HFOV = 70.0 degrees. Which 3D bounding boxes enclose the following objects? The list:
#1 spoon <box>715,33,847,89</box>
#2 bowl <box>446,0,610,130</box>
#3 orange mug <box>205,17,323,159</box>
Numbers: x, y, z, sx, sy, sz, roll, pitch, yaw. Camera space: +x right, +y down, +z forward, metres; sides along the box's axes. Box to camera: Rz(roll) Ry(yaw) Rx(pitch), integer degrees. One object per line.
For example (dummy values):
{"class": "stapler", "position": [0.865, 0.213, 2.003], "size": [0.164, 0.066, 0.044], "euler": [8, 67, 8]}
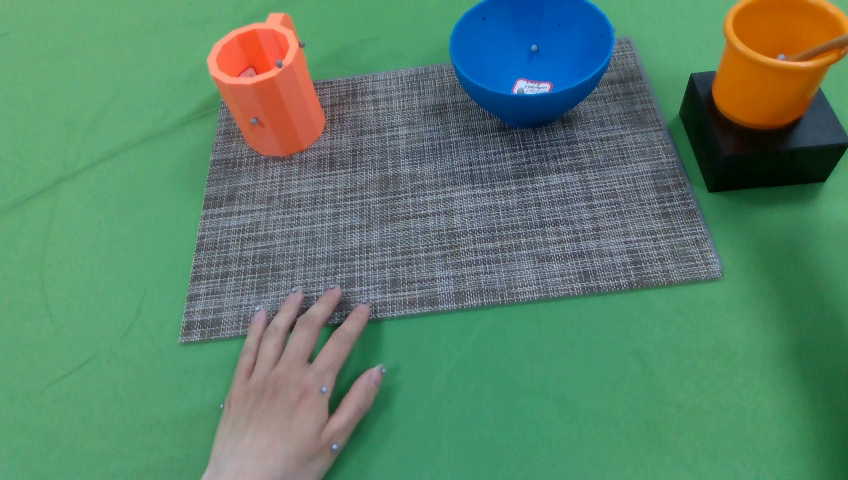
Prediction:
{"class": "spoon", "position": [0.302, -0.141, 0.447], "size": [0.041, 0.193, 0.022], "euler": [-44, 106, -16]}
{"class": "bowl", "position": [0.098, -0.161, 0.587], "size": [0.151, 0.077, 0.150], "euler": [-3, 56, 5]}
{"class": "orange mug", "position": [-0.153, -0.160, 0.607], "size": [0.083, 0.102, 0.125], "euler": [3, 62, 10]}
